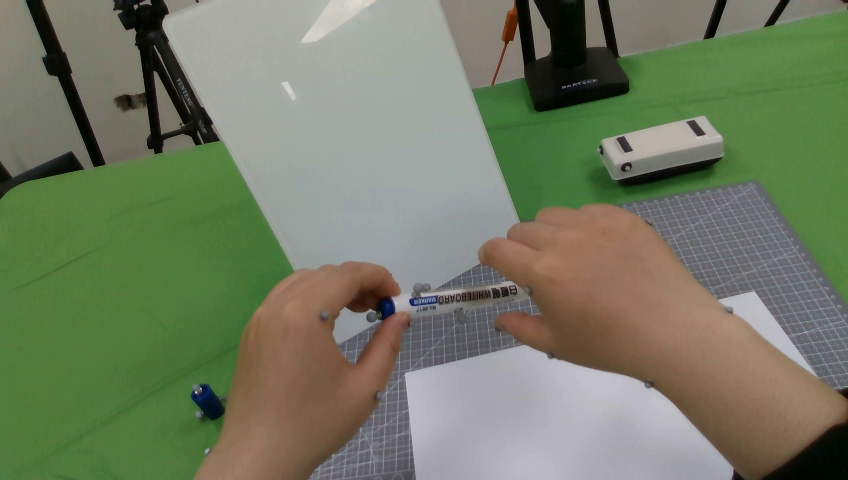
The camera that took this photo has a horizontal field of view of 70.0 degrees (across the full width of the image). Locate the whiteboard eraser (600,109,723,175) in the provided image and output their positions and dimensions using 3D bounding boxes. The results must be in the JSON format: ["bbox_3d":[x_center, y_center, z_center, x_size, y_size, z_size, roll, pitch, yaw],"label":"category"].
[{"bbox_3d":[0.246,-0.100,0.632,0.112,0.042,0.055,-12,43,4],"label":"whiteboard eraser"}]

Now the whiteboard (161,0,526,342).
[{"bbox_3d":[-0.070,-0.103,0.583,0.217,0.307,0.142,-29,22,-13],"label":"whiteboard"}]

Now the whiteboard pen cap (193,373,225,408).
[{"bbox_3d":[-0.185,0.131,0.523,0.018,0.033,0.018,-8,42,7],"label":"whiteboard pen cap"}]

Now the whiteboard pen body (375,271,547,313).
[{"bbox_3d":[0.031,0.032,0.397,0.141,0.017,0.017,-5,31,-36],"label":"whiteboard pen body"}]
